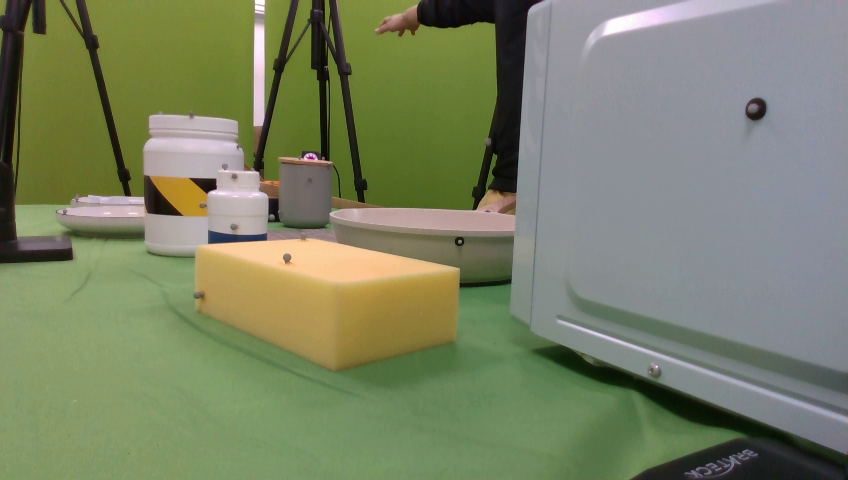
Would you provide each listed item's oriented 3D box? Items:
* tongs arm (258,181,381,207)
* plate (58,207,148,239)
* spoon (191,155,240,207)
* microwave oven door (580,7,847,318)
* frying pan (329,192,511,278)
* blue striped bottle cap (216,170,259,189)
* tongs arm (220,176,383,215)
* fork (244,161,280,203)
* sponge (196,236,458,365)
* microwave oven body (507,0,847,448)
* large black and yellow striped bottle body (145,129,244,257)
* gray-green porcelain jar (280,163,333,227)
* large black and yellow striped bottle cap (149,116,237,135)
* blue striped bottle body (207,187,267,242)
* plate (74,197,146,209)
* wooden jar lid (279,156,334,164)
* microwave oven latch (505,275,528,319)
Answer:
[{"bbox_3d":[-0.241,-0.095,1.374,0.387,0.026,0.050,9,0,-37],"label":"tongs arm"},{"bbox_3d":[-0.496,-0.030,1.022,0.209,0.038,0.209,2,8,0],"label":"plate"},{"bbox_3d":[-0.489,-0.135,1.417,0.041,0.021,0.194,2,-35,20],"label":"spoon"},{"bbox_3d":[0.295,-0.067,0.570,0.358,0.243,0.039,-3,9,-31],"label":"microwave oven door"},{"bbox_3d":[0.071,-0.030,0.884,0.305,0.102,0.490,7,17,27],"label":"frying pan"},{"bbox_3d":[-0.201,-0.066,0.654,0.044,0.020,0.044,0,5,0],"label":"blue striped bottle cap"},{"bbox_3d":[-0.285,-0.105,1.445,0.389,0.027,0.028,9,-4,-23],"label":"tongs arm"},{"bbox_3d":[-0.398,-0.144,1.489,0.028,0.018,0.208,23,-23,47],"label":"fork"},{"bbox_3d":[-0.087,0.039,0.500,0.206,0.061,0.119,8,9,44],"label":"sponge"},{"bbox_3d":[0.331,-0.042,0.425,0.444,0.260,0.324,-2,8,-31],"label":"microwave oven body"},{"bbox_3d":[-0.320,-0.075,0.851,0.131,0.184,0.130,2,8,0],"label":"large black and yellow striped bottle body"},{"bbox_3d":[-0.238,-0.092,1.221,0.106,0.126,0.106,1,7,0],"label":"gray-green porcelain jar"},{"bbox_3d":[-0.319,-0.158,0.841,0.115,0.019,0.115,3,6,0],"label":"large black and yellow striped bottle cap"},{"bbox_3d":[-0.204,-0.016,0.661,0.063,0.120,0.063,2,7,0],"label":"blue striped bottle body"},{"bbox_3d":[-0.596,-0.062,1.238,0.208,0.039,0.207,2,8,0],"label":"plate"},{"bbox_3d":[-0.237,-0.154,1.213,0.108,0.020,0.108,6,9,-1],"label":"wooden jar lid"},{"bbox_3d":[0.100,0.042,0.471,0.079,0.029,0.030,-1,7,-29],"label":"microwave oven latch"}]
